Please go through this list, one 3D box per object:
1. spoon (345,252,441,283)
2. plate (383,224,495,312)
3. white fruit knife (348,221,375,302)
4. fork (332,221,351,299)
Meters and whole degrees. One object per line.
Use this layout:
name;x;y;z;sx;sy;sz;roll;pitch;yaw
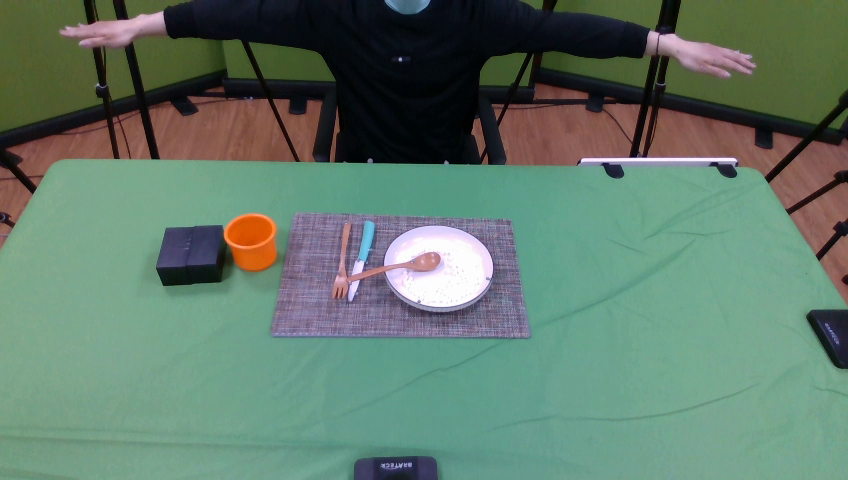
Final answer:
spoon;-0.054;0.051;1.106;0.194;0.022;0.041;-10;47;-30
plate;0.026;0.055;1.128;0.209;0.038;0.208;2;46;-2
white fruit knife;-0.119;0.037;1.153;0.027;0.016;0.206;-16;42;25
fork;-0.153;0.034;1.149;0.028;0.019;0.206;-6;47;6
